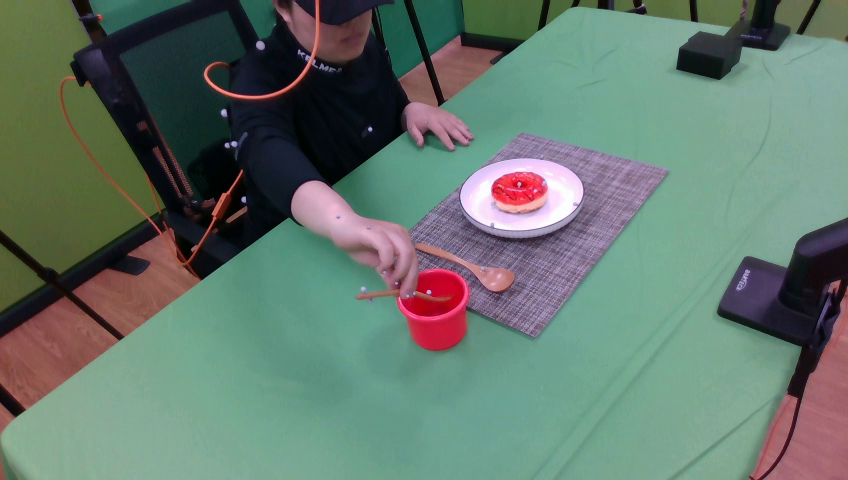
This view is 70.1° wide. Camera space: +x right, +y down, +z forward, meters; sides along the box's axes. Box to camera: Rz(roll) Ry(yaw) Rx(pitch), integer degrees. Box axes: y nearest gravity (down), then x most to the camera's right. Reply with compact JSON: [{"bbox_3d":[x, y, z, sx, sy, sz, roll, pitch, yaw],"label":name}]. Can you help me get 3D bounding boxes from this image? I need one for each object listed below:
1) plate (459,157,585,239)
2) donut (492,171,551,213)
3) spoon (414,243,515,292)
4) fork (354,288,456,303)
[{"bbox_3d":[0.163,-0.068,1.015,0.209,0.038,0.208,-5,40,5],"label":"plate"},{"bbox_3d":[0.163,-0.083,1.015,0.099,0.048,0.098,-6,37,5],"label":"donut"},{"bbox_3d":[0.057,0.035,0.924,0.192,0.022,0.041,24,69,33],"label":"spoon"},{"bbox_3d":[-0.019,0.070,0.754,0.028,0.209,0.018,0,83,33],"label":"fork"}]
